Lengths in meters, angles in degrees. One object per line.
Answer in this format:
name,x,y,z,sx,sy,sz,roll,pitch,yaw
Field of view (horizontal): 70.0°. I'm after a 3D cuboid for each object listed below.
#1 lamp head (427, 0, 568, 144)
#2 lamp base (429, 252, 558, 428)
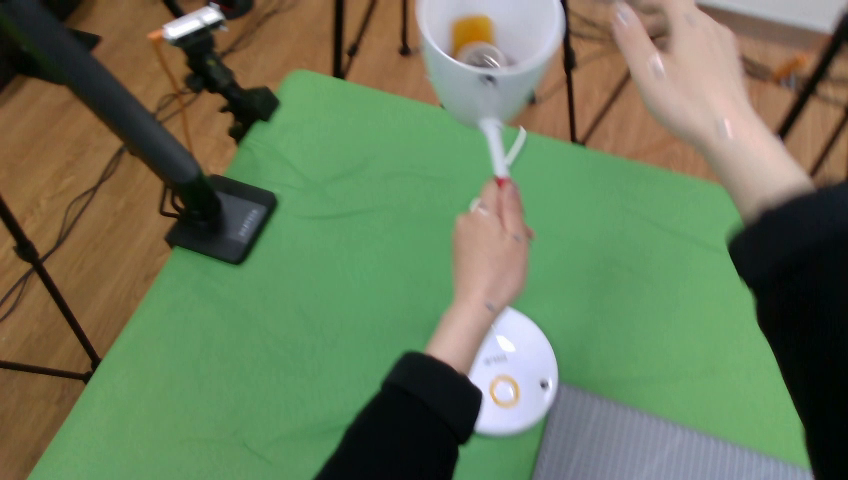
lamp head,0.057,-0.146,0.517,0.112,0.124,0.111,1,62,-1
lamp base,0.080,0.105,0.692,0.161,0.182,0.177,-21,60,-11
